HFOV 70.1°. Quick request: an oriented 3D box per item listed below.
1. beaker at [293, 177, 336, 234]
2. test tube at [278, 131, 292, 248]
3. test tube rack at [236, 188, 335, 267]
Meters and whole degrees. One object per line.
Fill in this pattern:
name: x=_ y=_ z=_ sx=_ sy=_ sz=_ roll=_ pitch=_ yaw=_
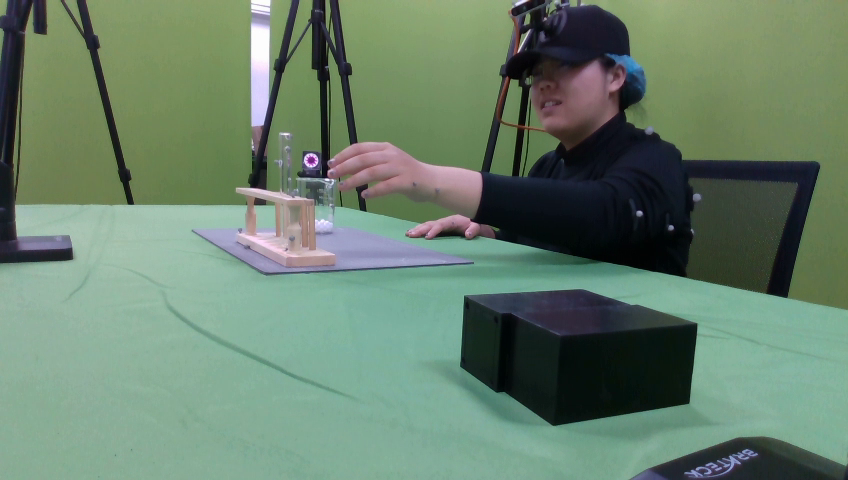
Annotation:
beaker: x=-0.198 y=-0.063 z=1.107 sx=0.083 sy=0.100 sz=0.074 roll=10 pitch=11 yaw=40
test tube: x=-0.178 y=-0.063 z=0.776 sx=0.017 sy=0.150 sz=0.017 roll=2 pitch=11 yaw=0
test tube rack: x=-0.202 y=-0.024 z=0.855 sx=0.067 sy=0.085 sz=0.241 roll=-2 pitch=9 yaw=-31
